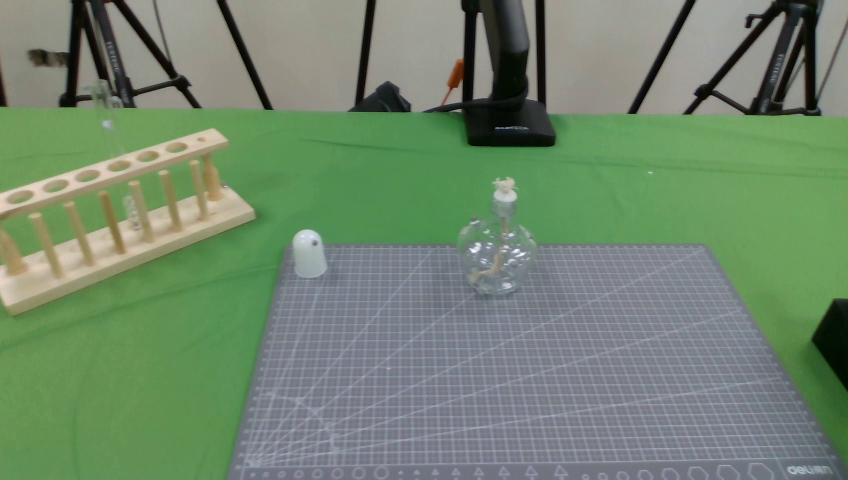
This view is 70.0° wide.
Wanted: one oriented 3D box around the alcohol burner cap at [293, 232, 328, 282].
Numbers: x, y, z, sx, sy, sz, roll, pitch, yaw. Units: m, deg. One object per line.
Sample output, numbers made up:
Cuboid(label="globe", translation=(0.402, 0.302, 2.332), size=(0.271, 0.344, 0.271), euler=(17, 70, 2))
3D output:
Cuboid(label="alcohol burner cap", translation=(-0.112, 0.014, 0.593), size=(0.034, 0.048, 0.033), euler=(2, 39, -1))

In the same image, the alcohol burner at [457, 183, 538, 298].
Cuboid(label="alcohol burner", translation=(0.070, -0.004, 0.566), size=(0.078, 0.120, 0.077), euler=(2, 39, -1))

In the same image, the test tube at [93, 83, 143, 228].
Cuboid(label="test tube", translation=(-0.296, -0.078, 0.591), size=(0.017, 0.151, 0.017), euler=(2, 32, -1))

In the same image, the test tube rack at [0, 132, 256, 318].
Cuboid(label="test tube rack", translation=(-0.298, -0.023, 0.601), size=(0.242, 0.086, 0.066), euler=(-26, 46, -32))
